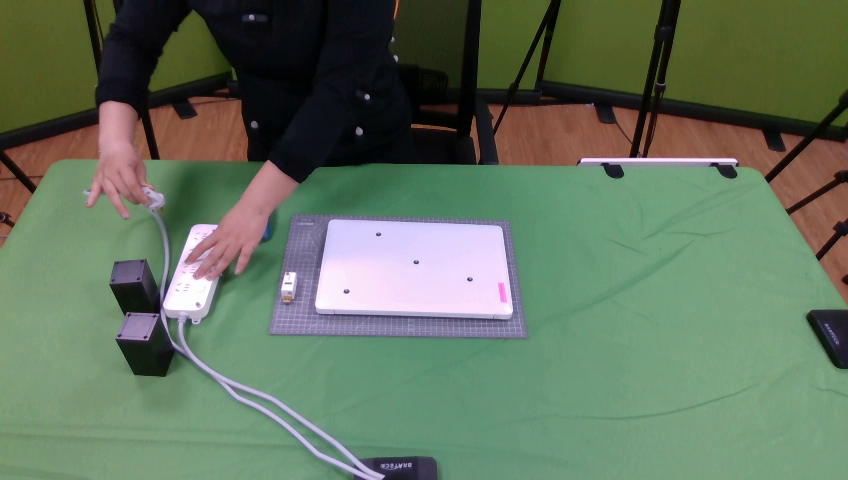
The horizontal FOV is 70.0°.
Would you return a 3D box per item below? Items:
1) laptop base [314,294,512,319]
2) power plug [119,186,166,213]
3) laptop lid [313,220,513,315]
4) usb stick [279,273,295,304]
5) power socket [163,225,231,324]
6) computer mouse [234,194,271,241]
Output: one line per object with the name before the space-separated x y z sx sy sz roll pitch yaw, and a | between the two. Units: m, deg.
laptop base | -0.018 0.055 1.144 0.354 0.023 0.234 2 42 -2
power plug | -0.486 -0.073 1.061 0.072 0.053 0.035 16 53 19
laptop lid | -0.017 0.045 1.138 0.357 0.013 0.240 3 43 -1
usb stick | -0.246 0.088 1.085 0.021 0.027 0.059 3 47 -4
power socket | -0.411 0.054 1.107 0.072 0.033 0.225 1 46 -1
computer mouse | -0.341 -0.048 1.207 0.063 0.041 0.116 1 51 -8
